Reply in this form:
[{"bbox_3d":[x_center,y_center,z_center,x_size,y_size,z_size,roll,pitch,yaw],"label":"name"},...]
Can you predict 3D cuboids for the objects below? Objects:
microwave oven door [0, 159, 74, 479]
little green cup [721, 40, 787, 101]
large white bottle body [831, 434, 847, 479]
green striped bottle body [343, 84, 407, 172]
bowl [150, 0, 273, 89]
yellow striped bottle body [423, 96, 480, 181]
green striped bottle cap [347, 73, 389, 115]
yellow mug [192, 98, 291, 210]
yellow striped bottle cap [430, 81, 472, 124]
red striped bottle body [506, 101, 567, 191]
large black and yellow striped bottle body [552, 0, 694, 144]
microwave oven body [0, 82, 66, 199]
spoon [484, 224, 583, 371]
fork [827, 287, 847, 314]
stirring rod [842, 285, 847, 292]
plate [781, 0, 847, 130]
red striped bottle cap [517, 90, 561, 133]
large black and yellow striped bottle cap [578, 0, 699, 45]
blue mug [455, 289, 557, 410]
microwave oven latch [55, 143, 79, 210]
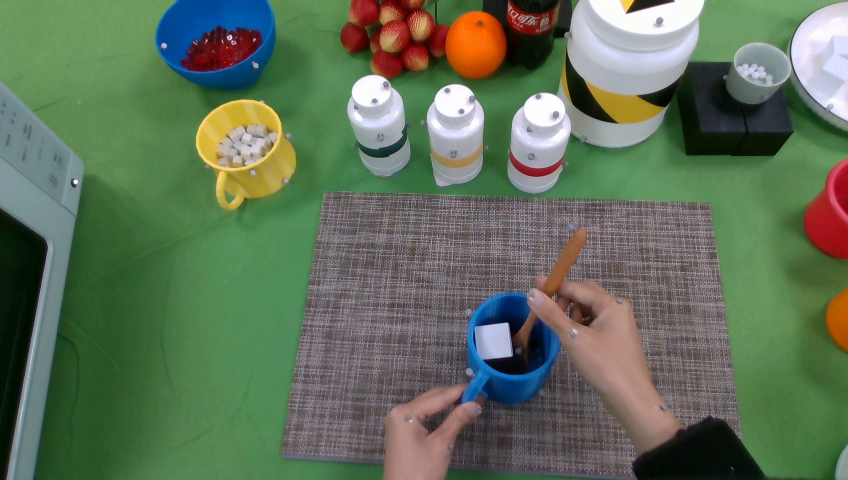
[{"bbox_3d":[-0.420,0.081,0.535,0.039,0.246,0.352,-7,65,1],"label":"microwave oven door"},{"bbox_3d":[0.369,-0.189,0.682,0.061,0.039,0.061,0,63,1],"label":"little green cup"},{"bbox_3d":[0.435,0.195,0.477,0.130,0.186,0.129,-1,65,4],"label":"large white bottle body"},{"bbox_3d":[-0.056,-0.135,0.697,0.063,0.120,0.062,-1,65,3],"label":"green striped bottle body"},{"bbox_3d":[-0.263,-0.251,0.786,0.151,0.077,0.150,-1,66,3],"label":"bowl"},{"bbox_3d":[0.032,-0.124,0.685,0.063,0.121,0.062,-2,65,4],"label":"yellow striped bottle body"},{"bbox_3d":[-0.060,-0.157,0.649,0.044,0.020,0.044,-1,64,2],"label":"green striped bottle cap"},{"bbox_3d":[-0.220,-0.097,0.719,0.100,0.064,0.130,12,67,8],"label":"yellow mug"},{"bbox_3d":[0.028,-0.145,0.638,0.044,0.019,0.044,-1,67,3],"label":"yellow striped bottle cap"},{"bbox_3d":[0.124,-0.110,0.673,0.063,0.120,0.062,-3,64,6],"label":"red striped bottle body"},{"bbox_3d":[0.218,-0.208,0.677,0.131,0.185,0.129,-1,65,4],"label":"large black and yellow striped bottle body"},{"bbox_3d":[-0.568,0.061,0.559,0.326,0.262,0.438,-7,66,0],"label":"microwave oven body"},{"bbox_3d":[0.100,0.065,0.552,0.041,0.195,0.022,40,41,25],"label":"spoon"},{"bbox_3d":[0.468,0.084,0.546,0.028,0.019,0.205,-35,24,-10],"label":"fork"},{"bbox_3d":[0.438,0.082,0.556,0.014,0.006,0.175,5,23,3],"label":"stirring rod"},{"bbox_3d":[0.539,-0.209,0.737,0.209,0.038,0.207,-1,66,3],"label":"plate"},{"bbox_3d":[0.119,-0.133,0.626,0.044,0.018,0.044,0,64,0],"label":"red striped bottle cap"},{"bbox_3d":[0.212,-0.243,0.600,0.115,0.019,0.114,-2,64,4],"label":"large black and yellow striped bottle cap"},{"bbox_3d":[0.069,0.115,0.578,0.082,0.106,0.116,37,73,19],"label":"blue mug"},{"bbox_3d":[-0.432,-0.074,0.718,0.030,0.030,0.078,-5,66,1],"label":"microwave oven latch"}]
